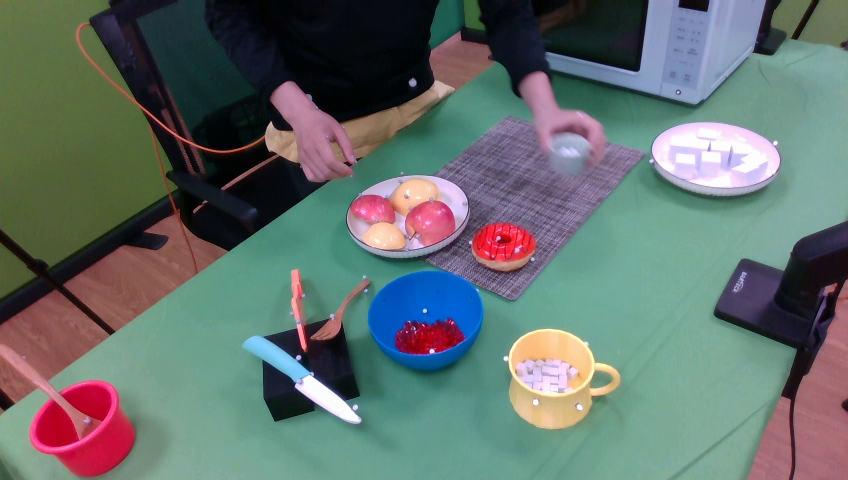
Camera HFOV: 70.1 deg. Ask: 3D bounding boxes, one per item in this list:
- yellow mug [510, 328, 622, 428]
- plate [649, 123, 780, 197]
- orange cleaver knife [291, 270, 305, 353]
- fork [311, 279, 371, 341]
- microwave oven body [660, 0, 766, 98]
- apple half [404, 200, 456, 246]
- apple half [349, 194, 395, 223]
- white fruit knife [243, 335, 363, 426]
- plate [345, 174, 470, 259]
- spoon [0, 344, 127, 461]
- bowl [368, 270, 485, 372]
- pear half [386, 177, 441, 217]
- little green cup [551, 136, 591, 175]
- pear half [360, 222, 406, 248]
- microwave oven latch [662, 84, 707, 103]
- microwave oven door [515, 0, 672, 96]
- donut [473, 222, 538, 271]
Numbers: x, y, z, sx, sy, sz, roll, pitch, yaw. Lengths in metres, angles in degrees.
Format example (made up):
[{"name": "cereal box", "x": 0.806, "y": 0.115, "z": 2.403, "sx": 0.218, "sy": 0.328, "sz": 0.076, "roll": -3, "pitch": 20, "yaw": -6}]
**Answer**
[{"name": "yellow mug", "x": 0.168, "y": 0.164, "z": 0.721, "sx": 0.131, "sy": 0.064, "sz": 0.099, "roll": 0, "pitch": 41, "yaw": 7}, {"name": "plate", "x": 0.497, "y": -0.135, "z": 1.046, "sx": 0.207, "sy": 0.039, "sz": 0.206, "roll": -4, "pitch": 40, "yaw": 4}, {"name": "orange cleaver knife", "x": -0.175, "y": 0.094, "z": 0.844, "sx": 0.012, "sy": 0.077, "sz": 0.210, "roll": -11, "pitch": 14, "yaw": -10}, {"name": "fork", "x": -0.108, "y": 0.092, "z": 0.832, "sx": 0.028, "sy": 0.019, "sz": 0.207, "roll": -6, "pitch": 19, "yaw": 15}, {"name": "microwave oven body", "x": 0.472, "y": -0.513, "z": 1.317, "sx": 0.438, "sy": 0.261, "sz": 0.327, "roll": 26, "pitch": 51, "yaw": 34}, {"name": "apple half", "x": 0.010, "y": -0.035, "z": 0.969, "sx": 0.075, "sy": 0.053, "sz": 0.080, "roll": -27, "pitch": 40, "yaw": -22}, {"name": "apple half", "x": -0.081, "y": -0.057, "z": 1.008, "sx": 0.081, "sy": 0.033, "sz": 0.081, "roll": 12, "pitch": 24, "yaw": -5}, {"name": "white fruit knife", "x": -0.148, "y": 0.167, "z": 0.730, "sx": 0.206, "sy": 0.016, "sz": 0.027, "roll": 26, "pitch": 80, "yaw": 31}, {"name": "plate", "x": -0.026, "y": -0.037, "z": 1.004, "sx": 0.209, "sy": 0.038, "sz": 0.208, "roll": -4, "pitch": 40, "yaw": 4}, {"name": "spoon", "x": -0.433, "y": 0.191, "z": 0.721, "sx": 0.194, "sy": 0.021, "sz": 0.042, "roll": 47, "pitch": 52, "yaw": -6}, {"name": "bowl", "x": 0.007, "y": 0.118, "z": 0.791, "sx": 0.151, "sy": 0.077, "sz": 0.150, "roll": -5, "pitch": 40, "yaw": 4}, {"name": "pear half", "x": -0.030, "y": -0.079, "z": 1.033, "sx": 0.109, "sy": 0.056, "sz": 0.076, "roll": -1, "pitch": 36, "yaw": 15}, {"name": "little green cup", "x": 0.225, "y": -0.130, "z": 0.936, "sx": 0.061, "sy": 0.039, "sz": 0.061, "roll": -1, "pitch": 41, "yaw": 1}, {"name": "pear half", "x": -0.064, "y": -0.013, "z": 0.959, "sx": 0.071, "sy": 0.031, "sz": 0.087, "roll": 5, "pitch": 21, "yaw": -24}, {"name": "microwave oven latch", "x": 0.517, "y": -0.296, "z": 1.204, "sx": 0.078, "sy": 0.029, "sz": 0.030, "roll": 27, "pitch": 52, "yaw": 35}, {"name": "microwave oven door", "x": 0.343, "y": -0.455, "z": 1.259, "sx": 0.353, "sy": 0.245, "sz": 0.039, "roll": 26, "pitch": 51, "yaw": 33}, {"name": "donut", "x": 0.123, "y": 0.009, "z": 0.923, "sx": 0.099, "sy": 0.048, "sz": 0.098, "roll": -3, "pitch": 38, "yaw": 3}]
